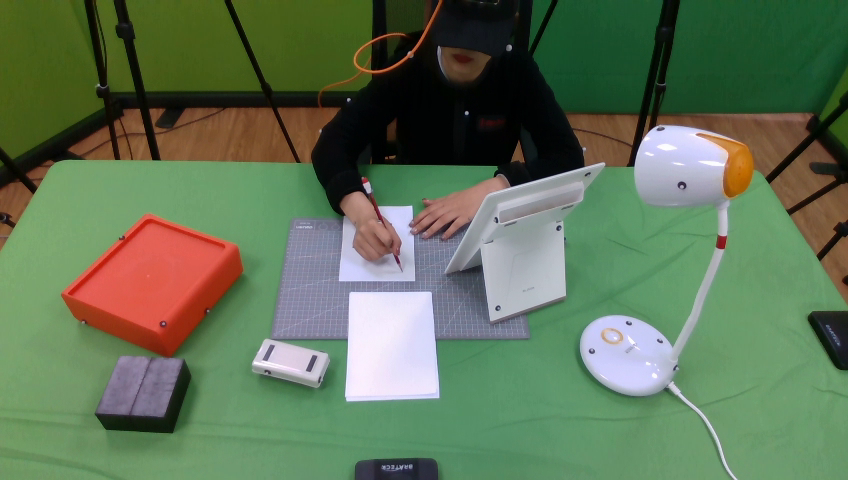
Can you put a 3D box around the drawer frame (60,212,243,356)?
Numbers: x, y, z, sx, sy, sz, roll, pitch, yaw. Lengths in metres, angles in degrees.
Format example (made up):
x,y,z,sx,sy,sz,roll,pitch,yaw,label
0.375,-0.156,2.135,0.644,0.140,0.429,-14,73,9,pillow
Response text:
x,y,z,sx,sy,sz,roll,pitch,yaw,label
-0.462,0.070,1.053,0.201,0.083,0.213,18,48,12,drawer frame

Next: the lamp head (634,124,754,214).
x,y,z,sx,sy,sz,roll,pitch,yaw,label
0.351,-0.089,0.776,0.112,0.113,0.122,-30,30,-28,lamp head

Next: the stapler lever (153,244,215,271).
x,y,z,sx,sy,sz,roll,pitch,yaw,label
-0.430,0.025,1.088,0.118,0.040,0.027,16,33,13,stapler lever

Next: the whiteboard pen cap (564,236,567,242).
x,y,z,sx,sy,sz,roll,pitch,yaw,label
0.271,-0.008,1.225,0.033,0.018,0.018,34,53,23,whiteboard pen cap

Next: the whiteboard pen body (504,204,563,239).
x,y,z,sx,sy,sz,roll,pitch,yaw,label
0.227,-0.037,1.250,0.140,0.017,0.017,32,52,24,whiteboard pen body

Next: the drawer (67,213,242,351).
x,y,z,sx,sy,sz,roll,pitch,yaw,label
-0.461,0.068,1.056,0.194,0.073,0.211,19,48,13,drawer

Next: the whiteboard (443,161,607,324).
x,y,z,sx,sy,sz,roll,pitch,yaw,label
0.185,0.026,1.028,0.217,0.306,0.143,-15,68,-18,whiteboard

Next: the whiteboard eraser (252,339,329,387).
x,y,z,sx,sy,sz,roll,pitch,yaw,label
-0.215,0.199,0.976,0.112,0.042,0.055,12,45,7,whiteboard eraser

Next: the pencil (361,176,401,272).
x,y,z,sx,sy,sz,roll,pitch,yaw,label
-0.077,-0.027,1.114,0.012,0.194,0.012,-20,15,6,pencil

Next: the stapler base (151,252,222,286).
x,y,z,sx,sy,sz,roll,pitch,yaw,label
-0.432,0.047,1.103,0.130,0.024,0.041,16,33,12,stapler base

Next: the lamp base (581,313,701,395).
x,y,z,sx,sy,sz,roll,pitch,yaw,label
0.361,0.144,0.973,0.178,0.181,0.160,34,53,23,lamp base
